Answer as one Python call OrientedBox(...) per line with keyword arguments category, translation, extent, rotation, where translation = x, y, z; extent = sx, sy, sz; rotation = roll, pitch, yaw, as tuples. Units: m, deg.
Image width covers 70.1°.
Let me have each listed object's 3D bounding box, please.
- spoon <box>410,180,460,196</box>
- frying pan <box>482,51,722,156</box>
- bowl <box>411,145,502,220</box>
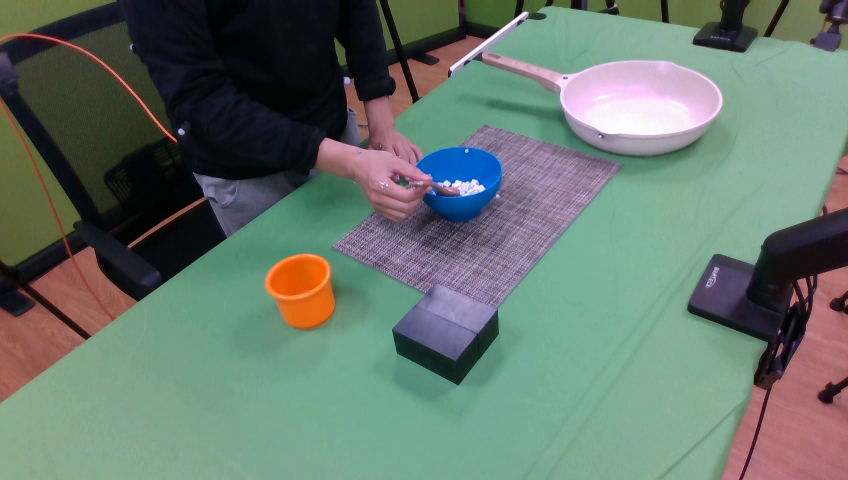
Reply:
OrientedBox(category="spoon", translation=(0.014, -0.081, 0.914), extent=(0.041, 0.021, 0.195), rotation=(8, 0, 19))
OrientedBox(category="frying pan", translation=(0.326, -0.298, 1.204), extent=(0.485, 0.103, 0.307), rotation=(28, 51, 23))
OrientedBox(category="bowl", translation=(0.057, -0.086, 1.010), extent=(0.151, 0.077, 0.150), rotation=(-4, 41, 4))
